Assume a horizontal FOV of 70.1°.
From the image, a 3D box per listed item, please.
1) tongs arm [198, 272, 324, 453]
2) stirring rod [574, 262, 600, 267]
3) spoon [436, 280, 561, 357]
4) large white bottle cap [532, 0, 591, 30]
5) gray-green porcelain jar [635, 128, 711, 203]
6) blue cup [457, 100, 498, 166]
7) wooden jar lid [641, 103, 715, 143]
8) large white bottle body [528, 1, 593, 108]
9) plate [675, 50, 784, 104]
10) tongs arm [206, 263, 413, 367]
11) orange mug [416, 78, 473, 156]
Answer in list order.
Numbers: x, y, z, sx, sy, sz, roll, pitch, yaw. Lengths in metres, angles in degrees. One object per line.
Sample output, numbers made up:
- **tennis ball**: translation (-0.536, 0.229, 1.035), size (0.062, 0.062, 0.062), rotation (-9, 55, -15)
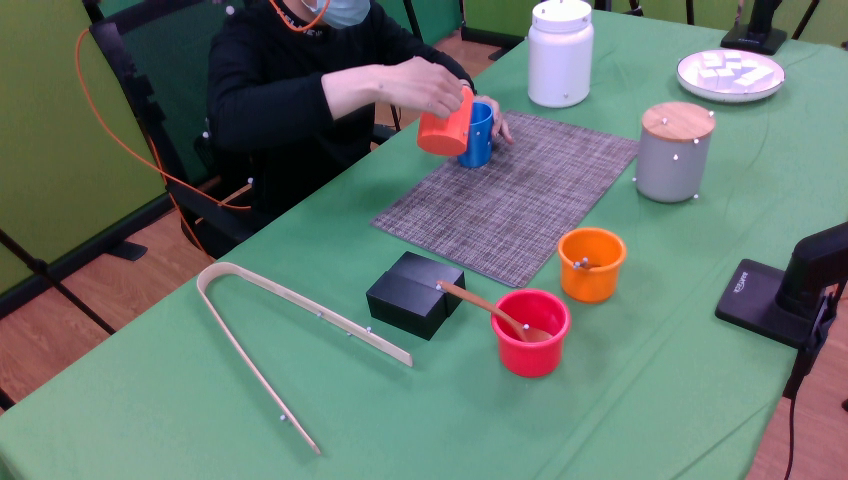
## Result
- **tongs arm**: translation (-0.236, 0.154, 0.830), size (0.028, 0.028, 0.384), rotation (-37, 48, -18)
- **stirring rod**: translation (0.222, 0.033, 0.816), size (0.014, 0.006, 0.177), rotation (8, 1, 22)
- **spoon**: translation (0.096, 0.095, 0.757), size (0.195, 0.021, 0.041), rotation (34, 41, -20)
- **large white bottle cap**: translation (0.274, -0.449, 1.204), size (0.115, 0.018, 0.114), rotation (-4, 41, 4)
- **gray-green porcelain jar**: translation (0.405, -0.133, 0.992), size (0.106, 0.127, 0.105), rotation (-4, 40, 4)
- **blue cup**: translation (0.089, -0.194, 1.121), size (0.092, 0.101, 0.092), rotation (-5, 42, 5)
- **wooden jar lid**: translation (0.398, -0.180, 0.952), size (0.108, 0.021, 0.108), rotation (-4, 43, 4)
- **large white bottle body**: translation (0.283, -0.386, 1.259), size (0.130, 0.185, 0.130), rotation (-5, 41, 4)
- **plate**: translation (0.631, -0.336, 1.262), size (0.207, 0.039, 0.206), rotation (-4, 41, 4)
- **tongs arm**: translation (-0.179, 0.106, 0.870), size (0.381, 0.027, 0.051), rotation (23, 54, 32)
- **orange mug**: translation (0.035, -0.209, 1.006), size (0.083, 0.126, 0.100), rotation (7, 72, 7)
